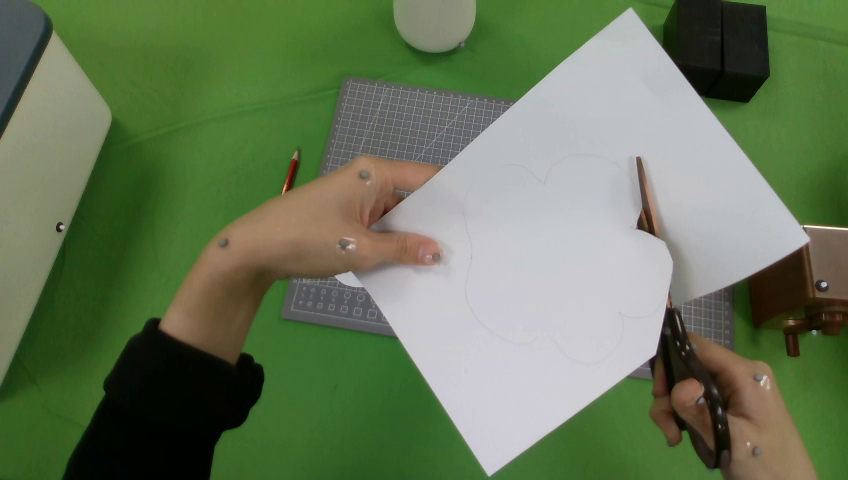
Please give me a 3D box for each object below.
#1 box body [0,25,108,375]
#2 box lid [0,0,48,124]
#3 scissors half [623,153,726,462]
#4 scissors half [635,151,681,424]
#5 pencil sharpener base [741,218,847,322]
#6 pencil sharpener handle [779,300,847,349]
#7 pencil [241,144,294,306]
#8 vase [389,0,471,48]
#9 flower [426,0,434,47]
[{"bbox_3d":[-0.499,-0.044,0.573,0.254,0.161,0.361,9,69,4],"label":"box body"},{"bbox_3d":[-0.500,-0.074,0.504,0.263,0.015,0.369,9,69,3],"label":"box lid"},{"bbox_3d":[0.135,0.036,0.333,0.013,0.040,0.174,-14,84,-2],"label":"scissors half"},{"bbox_3d":[0.135,0.032,0.355,0.013,0.039,0.176,-14,113,3],"label":"scissors half"},{"bbox_3d":[0.356,0.035,0.572,0.061,0.108,0.076,4,69,2],"label":"pencil sharpener base"},{"bbox_3d":[0.348,0.078,0.542,0.036,0.068,0.030,9,68,-11],"label":"pencil sharpener handle"},{"bbox_3d":[-0.164,-0.022,0.648,0.012,0.012,0.193,9,67,4],"label":"pencil"},{"bbox_3d":[0.006,-0.304,0.654,0.098,0.201,0.097,0,67,1],"label":"vase"},{"bbox_3d":[0.000,-0.348,0.582,0.044,0.365,0.038,2,51,5],"label":"flower"}]
